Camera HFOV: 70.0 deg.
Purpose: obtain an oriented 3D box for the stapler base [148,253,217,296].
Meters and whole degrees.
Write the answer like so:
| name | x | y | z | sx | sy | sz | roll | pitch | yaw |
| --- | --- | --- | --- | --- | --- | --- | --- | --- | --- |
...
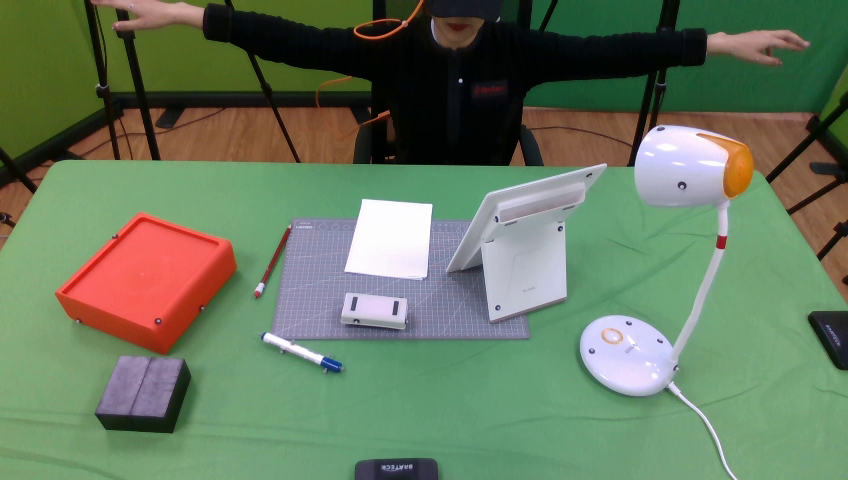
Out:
| name | x | y | z | sx | sy | sz | roll | pitch | yaw |
| --- | --- | --- | --- | --- | --- | --- | --- | --- | --- |
| stapler base | -0.443 | 0.059 | 1.109 | 0.130 | 0.024 | 0.041 | 24 | 50 | 10 |

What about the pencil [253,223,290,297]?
| name | x | y | z | sx | sy | sz | roll | pitch | yaw |
| --- | --- | --- | --- | --- | --- | --- | --- | --- | --- |
| pencil | -0.286 | 0.033 | 1.150 | 0.012 | 0.012 | 0.193 | 9 | 46 | 4 |

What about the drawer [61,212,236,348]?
| name | x | y | z | sx | sy | sz | roll | pitch | yaw |
| --- | --- | --- | --- | --- | --- | --- | --- | --- | --- |
| drawer | -0.473 | 0.064 | 1.060 | 0.194 | 0.073 | 0.211 | 18 | 48 | 11 |

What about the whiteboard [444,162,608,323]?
| name | x | y | z | sx | sy | sz | roll | pitch | yaw |
| --- | --- | --- | --- | --- | --- | --- | --- | --- | --- |
| whiteboard | 0.186 | 0.026 | 1.028 | 0.217 | 0.306 | 0.143 | -14 | 68 | -18 |

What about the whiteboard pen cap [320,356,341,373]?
| name | x | y | z | sx | sy | sz | roll | pitch | yaw |
| --- | --- | --- | --- | --- | --- | --- | --- | --- | --- |
| whiteboard pen cap | -0.154 | 0.203 | 0.992 | 0.033 | 0.018 | 0.018 | 21 | 48 | 12 |

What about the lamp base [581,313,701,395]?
| name | x | y | z | sx | sy | sz | roll | pitch | yaw |
| --- | --- | --- | --- | --- | --- | --- | --- | --- | --- |
| lamp base | 0.361 | 0.144 | 0.973 | 0.178 | 0.181 | 0.160 | 34 | 53 | 23 |

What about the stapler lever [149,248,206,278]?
| name | x | y | z | sx | sy | sz | roll | pitch | yaw |
| --- | --- | --- | --- | --- | --- | --- | --- | --- | --- |
| stapler lever | -0.442 | 0.037 | 1.084 | 0.118 | 0.040 | 0.027 | 19 | 49 | 17 |

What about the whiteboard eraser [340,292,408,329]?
| name | x | y | z | sx | sy | sz | roll | pitch | yaw |
| --- | --- | --- | --- | --- | --- | --- | --- | --- | --- |
| whiteboard eraser | -0.087 | 0.125 | 1.052 | 0.113 | 0.042 | 0.055 | 5 | 45 | 1 |

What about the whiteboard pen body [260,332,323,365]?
| name | x | y | z | sx | sy | sz | roll | pitch | yaw |
| --- | --- | --- | --- | --- | --- | --- | --- | --- | --- |
| whiteboard pen body | -0.208 | 0.184 | 1.003 | 0.140 | 0.017 | 0.017 | 20 | 48 | 12 |

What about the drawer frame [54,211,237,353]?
| name | x | y | z | sx | sy | sz | roll | pitch | yaw |
| --- | --- | --- | --- | --- | --- | --- | --- | --- | --- |
| drawer frame | -0.473 | 0.067 | 1.055 | 0.201 | 0.083 | 0.212 | 17 | 48 | 11 |

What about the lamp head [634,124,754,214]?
| name | x | y | z | sx | sy | sz | roll | pitch | yaw |
| --- | --- | --- | --- | --- | --- | --- | --- | --- | --- |
| lamp head | 0.351 | -0.089 | 0.775 | 0.112 | 0.113 | 0.122 | -30 | 30 | -28 |
